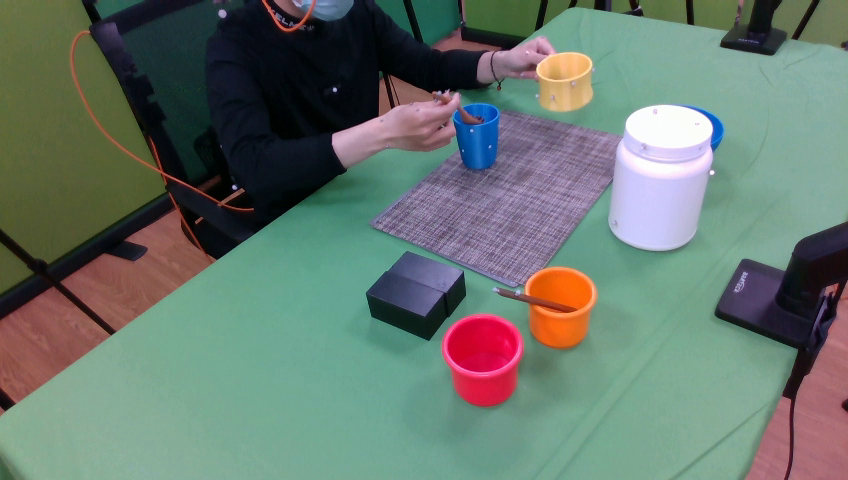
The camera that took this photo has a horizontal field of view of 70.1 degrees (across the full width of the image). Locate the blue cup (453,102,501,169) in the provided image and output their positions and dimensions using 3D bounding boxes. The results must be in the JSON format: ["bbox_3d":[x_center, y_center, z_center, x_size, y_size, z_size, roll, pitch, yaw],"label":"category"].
[{"bbox_3d":[0.099,-0.188,1.114,0.092,0.100,0.092,-4,39,3],"label":"blue cup"}]

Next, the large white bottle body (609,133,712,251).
[{"bbox_3d":[0.351,-0.090,0.904,0.130,0.185,0.130,-5,41,4],"label":"large white bottle body"}]

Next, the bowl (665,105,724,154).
[{"bbox_3d":[0.438,-0.166,1.063,0.151,0.077,0.150,-4,41,4],"label":"bowl"}]

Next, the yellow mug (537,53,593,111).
[{"bbox_3d":[0.259,-0.305,1.138,0.100,0.064,0.130,-20,43,-4],"label":"yellow mug"}]

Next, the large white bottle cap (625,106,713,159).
[{"bbox_3d":[0.342,-0.153,0.848,0.115,0.018,0.114,-4,41,4],"label":"large white bottle cap"}]

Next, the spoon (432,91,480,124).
[{"bbox_3d":[0.056,-0.222,1.017,0.041,0.195,0.021,14,89,27],"label":"spoon"}]

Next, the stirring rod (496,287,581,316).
[{"bbox_3d":[0.150,0.080,0.774,0.178,0.006,0.014,17,21,-42],"label":"stirring rod"}]
